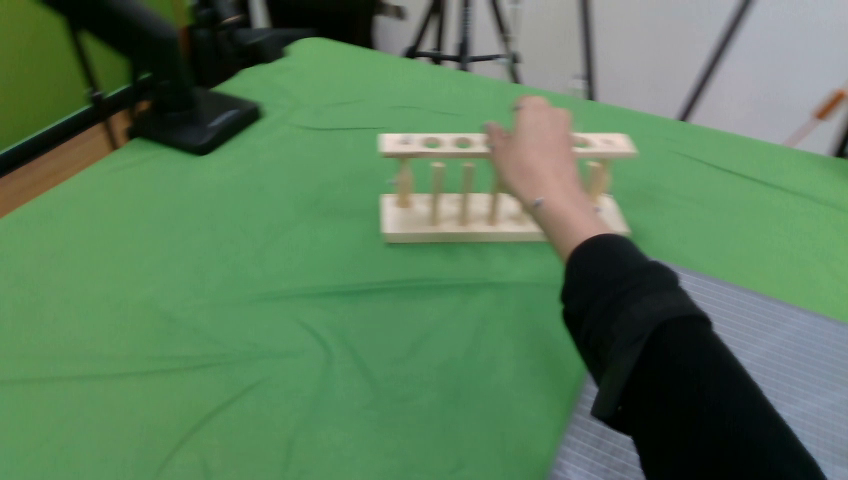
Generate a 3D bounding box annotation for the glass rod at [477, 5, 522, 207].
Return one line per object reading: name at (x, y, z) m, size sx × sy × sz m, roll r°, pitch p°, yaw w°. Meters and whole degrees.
glass rod at (0.070, -0.118, 0.574) m, size 0.008 × 0.201 × 0.008 m, roll 6°, pitch 34°, yaw -3°

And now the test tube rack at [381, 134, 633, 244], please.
test tube rack at (0.079, -0.051, 0.597) m, size 0.243 × 0.086 × 0.066 m, roll -1°, pitch 40°, yaw -5°

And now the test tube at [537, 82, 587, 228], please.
test tube at (0.126, -0.074, 0.558) m, size 0.017 × 0.151 × 0.017 m, roll 4°, pitch 38°, yaw -2°
